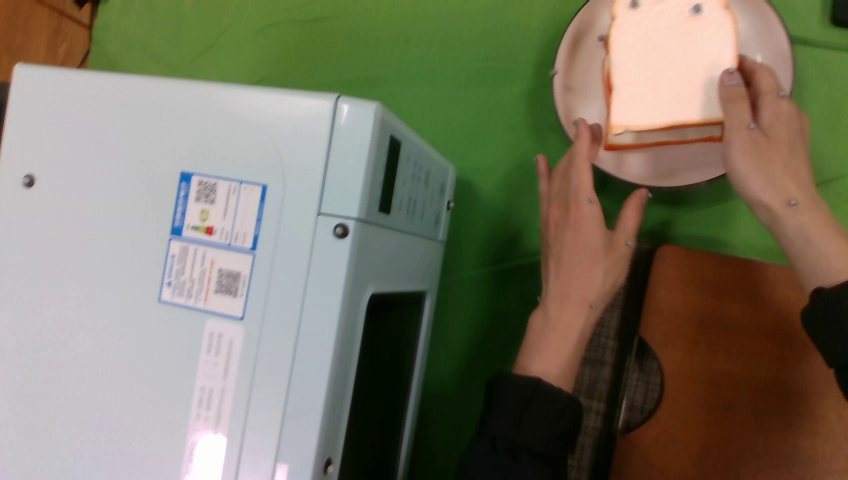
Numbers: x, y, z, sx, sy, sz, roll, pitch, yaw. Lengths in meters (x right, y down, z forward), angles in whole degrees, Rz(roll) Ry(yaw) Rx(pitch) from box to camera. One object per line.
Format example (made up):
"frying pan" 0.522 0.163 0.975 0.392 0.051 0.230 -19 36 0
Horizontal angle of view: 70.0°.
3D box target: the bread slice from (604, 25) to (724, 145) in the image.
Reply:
"bread slice" 0.219 -0.157 0.565 0.104 0.019 0.131 -3 87 14

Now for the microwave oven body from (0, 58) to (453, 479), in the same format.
"microwave oven body" -0.182 0.100 0.544 0.325 0.261 0.441 9 90 15

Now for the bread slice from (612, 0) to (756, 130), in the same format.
"bread slice" 0.207 -0.159 0.507 0.107 0.018 0.134 -7 80 16

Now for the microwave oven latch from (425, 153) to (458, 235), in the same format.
"microwave oven latch" 0.015 -0.046 0.596 0.030 0.029 0.079 11 91 15

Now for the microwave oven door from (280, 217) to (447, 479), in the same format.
"microwave oven door" -0.052 0.164 0.500 0.039 0.245 0.355 9 90 16

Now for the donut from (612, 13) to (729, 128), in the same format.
"donut" 0.216 -0.149 0.535 0.099 0.048 0.099 1 94 11

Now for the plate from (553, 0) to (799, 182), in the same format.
"plate" 0.226 -0.155 0.562 0.207 0.039 0.207 -1 87 16
